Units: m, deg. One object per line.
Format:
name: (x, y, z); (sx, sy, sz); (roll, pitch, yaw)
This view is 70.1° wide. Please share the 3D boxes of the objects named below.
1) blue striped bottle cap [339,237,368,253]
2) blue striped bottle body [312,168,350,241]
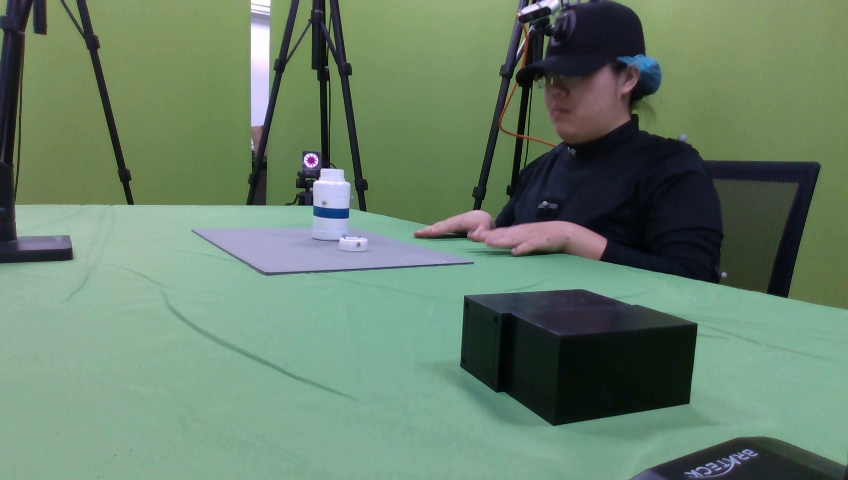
blue striped bottle cap: (-0.107, 0.007, 0.920); (0.044, 0.020, 0.044); (1, 7, 0)
blue striped bottle body: (-0.157, -0.062, 1.025); (0.063, 0.120, 0.063); (3, 7, 0)
